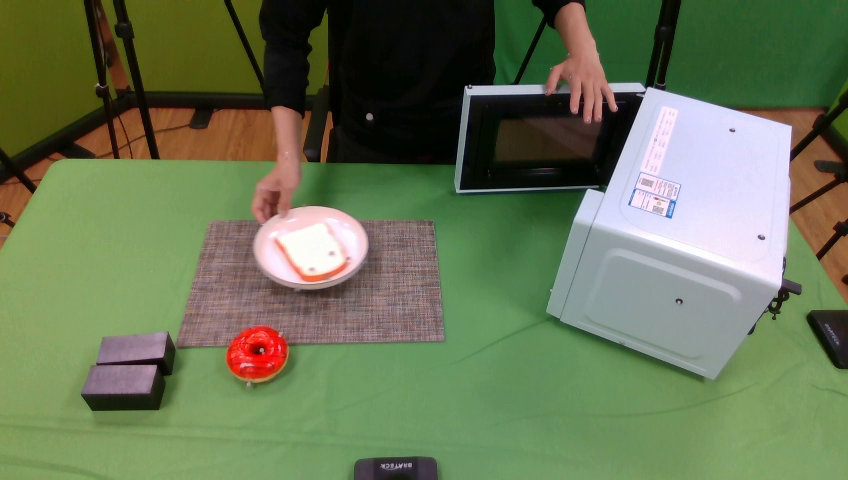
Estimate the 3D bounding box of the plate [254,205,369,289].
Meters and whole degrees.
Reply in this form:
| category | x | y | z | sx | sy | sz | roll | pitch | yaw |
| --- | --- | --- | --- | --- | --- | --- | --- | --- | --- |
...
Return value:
| category | x | y | z | sx | sy | sz | roll | pitch | yaw |
| --- | --- | --- | --- | --- | --- | --- | --- | --- | --- |
| plate | -0.207 | 0.016 | 1.125 | 0.208 | 0.039 | 0.206 | 4 | 45 | -4 |

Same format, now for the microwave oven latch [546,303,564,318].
| category | x | y | z | sx | sy | sz | roll | pitch | yaw |
| --- | --- | --- | --- | --- | --- | --- | --- | --- | --- |
| microwave oven latch | 0.242 | 0.102 | 1.081 | 0.030 | 0.029 | 0.079 | 21 | 48 | 17 |

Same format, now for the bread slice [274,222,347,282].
| category | x | y | z | sx | sy | sz | roll | pitch | yaw |
| --- | --- | --- | --- | --- | --- | --- | --- | --- | --- |
| bread slice | -0.203 | 0.022 | 1.121 | 0.105 | 0.019 | 0.130 | -22 | 51 | -25 |

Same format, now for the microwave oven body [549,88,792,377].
| category | x | y | z | sx | sy | sz | roll | pitch | yaw |
| --- | --- | --- | --- | --- | --- | --- | --- | --- | --- |
| microwave oven body | 0.456 | -0.028 | 1.088 | 0.325 | 0.261 | 0.440 | 20 | 47 | 16 |

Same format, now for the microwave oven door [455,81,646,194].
| category | x | y | z | sx | sy | sz | roll | pitch | yaw |
| --- | --- | --- | --- | --- | --- | --- | --- | --- | --- |
| microwave oven door | 0.249 | -0.205 | 1.235 | 0.356 | 0.245 | 0.039 | -3 | 45 | -6 |

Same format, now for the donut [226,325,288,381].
| category | x | y | z | sx | sy | sz | roll | pitch | yaw |
| --- | --- | --- | --- | --- | --- | --- | --- | --- | --- |
| donut | -0.270 | 0.182 | 0.984 | 0.099 | 0.048 | 0.098 | 5 | 49 | -5 |
